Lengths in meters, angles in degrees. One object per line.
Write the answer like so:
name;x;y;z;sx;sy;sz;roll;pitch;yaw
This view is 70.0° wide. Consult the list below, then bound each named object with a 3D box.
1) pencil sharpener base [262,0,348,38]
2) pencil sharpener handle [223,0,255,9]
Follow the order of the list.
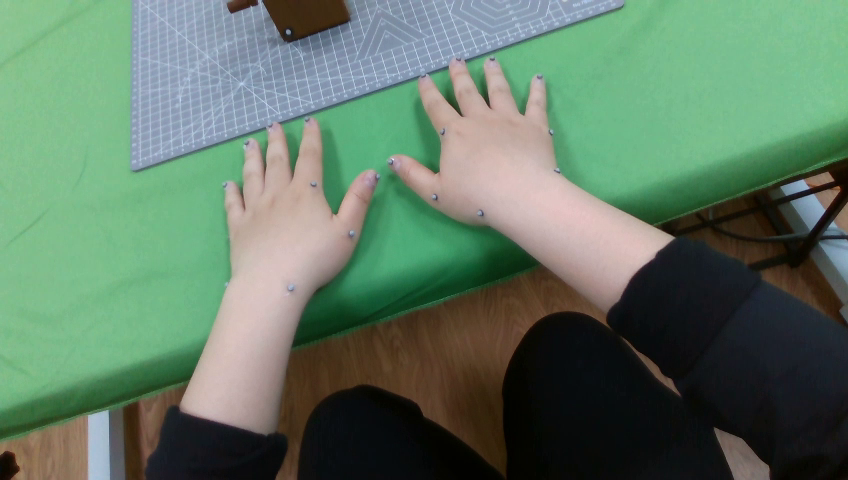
pencil sharpener base;-0.121;-0.244;0.534;0.077;0.108;0.061;-20;60;2
pencil sharpener handle;-0.172;-0.232;0.525;0.030;0.068;0.035;-20;60;2
